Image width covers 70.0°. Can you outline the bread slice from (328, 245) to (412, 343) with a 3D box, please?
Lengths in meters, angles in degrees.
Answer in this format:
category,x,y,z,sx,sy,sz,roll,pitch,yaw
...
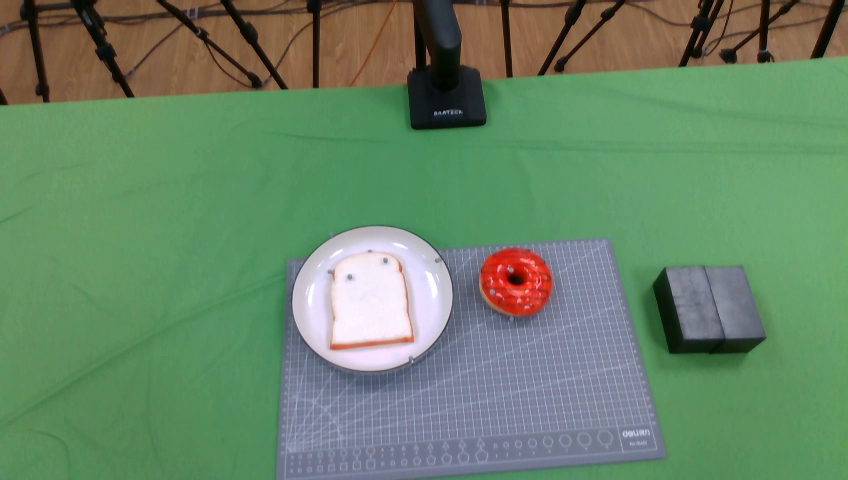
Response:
category,x,y,z,sx,sy,sz,roll,pitch,yaw
bread slice,-0.075,0.066,0.785,0.105,0.019,0.130,-6,62,-4

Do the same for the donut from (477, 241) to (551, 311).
category,x,y,z,sx,sy,sz,roll,pitch,yaw
donut,0.117,0.046,0.791,0.099,0.048,0.098,1,61,-2

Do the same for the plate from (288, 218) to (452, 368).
category,x,y,z,sx,sy,sz,roll,pitch,yaw
plate,-0.068,0.068,0.782,0.209,0.038,0.207,0,61,0
